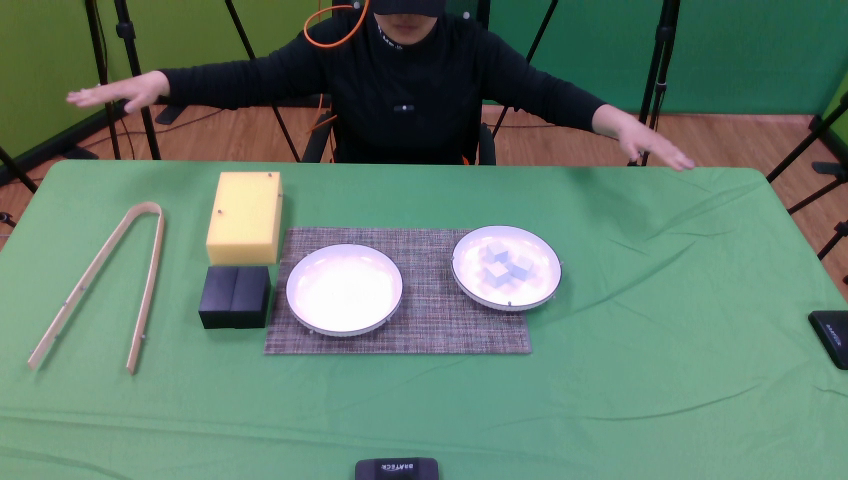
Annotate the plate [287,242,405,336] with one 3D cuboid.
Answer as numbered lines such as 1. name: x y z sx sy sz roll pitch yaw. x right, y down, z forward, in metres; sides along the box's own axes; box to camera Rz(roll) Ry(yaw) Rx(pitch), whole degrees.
1. plate: -0.138 0.090 1.084 0.208 0.039 0.206 2 46 -2

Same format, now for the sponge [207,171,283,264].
1. sponge: -0.346 -0.048 1.191 0.118 0.061 0.205 -2 46 -7

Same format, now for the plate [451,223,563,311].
1. plate: 0.154 0.053 1.140 0.209 0.038 0.208 2 47 -2

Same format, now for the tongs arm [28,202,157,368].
1. tongs arm: -0.579 0.064 1.084 0.051 0.026 0.382 6 45 1

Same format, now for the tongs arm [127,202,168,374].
1. tongs arm: -0.496 0.070 1.090 0.028 0.028 0.385 -6 47 -6
